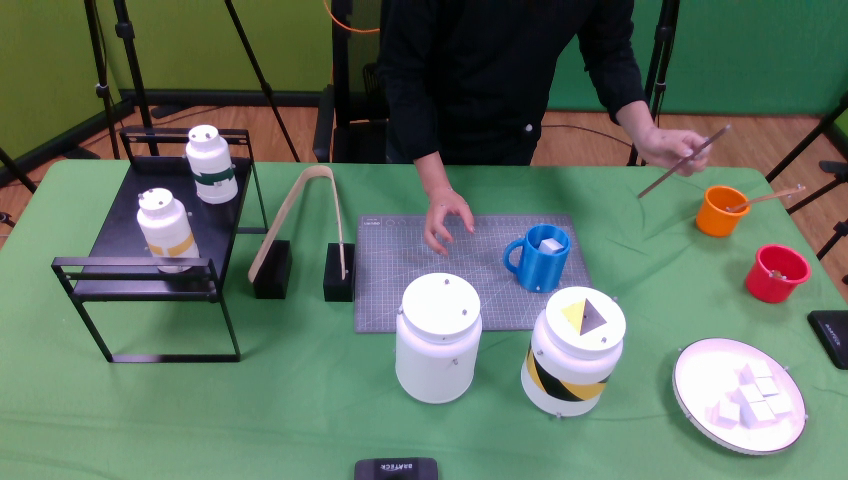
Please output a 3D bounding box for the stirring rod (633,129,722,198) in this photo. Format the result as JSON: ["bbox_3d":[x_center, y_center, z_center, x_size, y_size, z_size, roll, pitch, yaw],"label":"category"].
[{"bbox_3d":[0.429,-0.129,1.032,0.006,0.176,0.014,45,25,-10],"label":"stirring rod"}]

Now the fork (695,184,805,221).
[{"bbox_3d":[0.657,-0.075,1.230,0.207,0.019,0.028,-23,32,37],"label":"fork"}]

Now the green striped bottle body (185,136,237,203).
[{"bbox_3d":[-0.341,-0.121,0.968,0.063,0.120,0.063,2,46,-2],"label":"green striped bottle body"}]

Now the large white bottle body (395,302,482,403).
[{"bbox_3d":[0.020,0.153,0.940,0.131,0.185,0.130,2,46,-2],"label":"large white bottle body"}]

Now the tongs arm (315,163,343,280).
[{"bbox_3d":[-0.187,-0.049,1.170,0.051,0.026,0.382,-5,35,-6],"label":"tongs arm"}]

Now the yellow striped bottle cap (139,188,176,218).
[{"bbox_3d":[-0.363,-0.050,0.826,0.044,0.019,0.044,0,47,0],"label":"yellow striped bottle cap"}]

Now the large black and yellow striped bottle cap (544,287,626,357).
[{"bbox_3d":[0.232,0.116,0.876,0.115,0.019,0.114,2,46,-1],"label":"large black and yellow striped bottle cap"}]

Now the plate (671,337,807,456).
[{"bbox_3d":[0.503,0.254,0.984,0.208,0.039,0.206,2,46,-2],"label":"plate"}]

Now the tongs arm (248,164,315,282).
[{"bbox_3d":[-0.269,-0.048,1.165,0.028,0.028,0.385,0,34,7],"label":"tongs arm"}]

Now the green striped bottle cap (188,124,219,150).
[{"bbox_3d":[-0.339,-0.158,0.931,0.044,0.020,0.044,3,47,-3],"label":"green striped bottle cap"}]

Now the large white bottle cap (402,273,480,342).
[{"bbox_3d":[0.024,0.095,0.878,0.115,0.018,0.114,2,47,-2],"label":"large white bottle cap"}]

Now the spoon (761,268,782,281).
[{"bbox_3d":[0.638,0.060,1.105,0.041,0.021,0.194,38,11,24],"label":"spoon"}]

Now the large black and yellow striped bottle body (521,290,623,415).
[{"bbox_3d":[0.228,0.173,0.938,0.131,0.185,0.130,2,47,-2],"label":"large black and yellow striped bottle body"}]

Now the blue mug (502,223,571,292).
[{"bbox_3d":[0.203,0.032,1.121,0.116,0.106,0.082,5,47,1],"label":"blue mug"}]

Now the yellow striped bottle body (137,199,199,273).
[{"bbox_3d":[-0.366,-0.014,0.863,0.063,0.121,0.062,2,46,-2],"label":"yellow striped bottle body"}]
